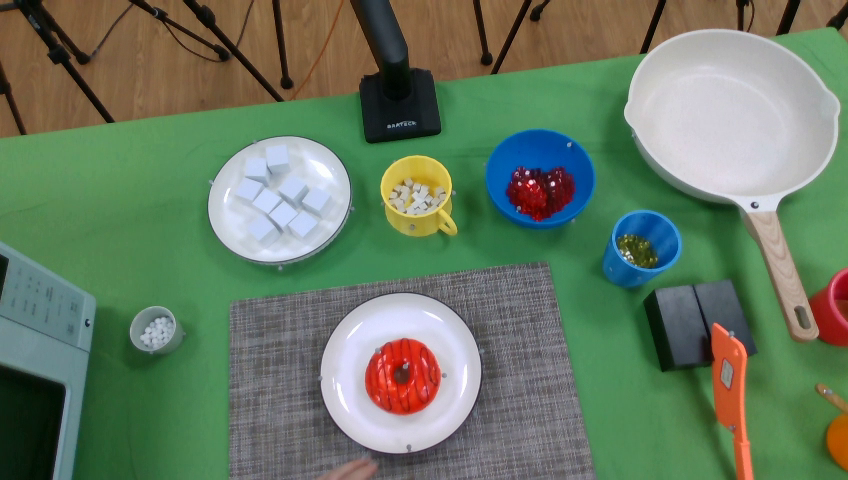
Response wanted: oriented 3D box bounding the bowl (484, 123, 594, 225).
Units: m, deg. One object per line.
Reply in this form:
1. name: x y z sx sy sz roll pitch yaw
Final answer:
1. bowl: 0.158 -0.081 0.859 0.151 0.077 0.150 -1 68 2

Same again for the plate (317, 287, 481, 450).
1. plate: -0.031 0.164 0.783 0.209 0.038 0.207 -1 68 2

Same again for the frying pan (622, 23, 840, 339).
1. frying pan: 0.441 -0.094 0.839 0.307 0.103 0.483 -3 60 2

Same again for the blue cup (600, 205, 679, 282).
1. blue cup: 0.277 0.013 0.803 0.092 0.101 0.092 0 68 1

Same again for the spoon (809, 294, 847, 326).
1. spoon: 0.583 0.075 0.743 0.193 0.022 0.041 -18 60 43

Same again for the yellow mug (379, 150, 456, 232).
1. yellow mug: -0.001 -0.059 0.862 0.100 0.064 0.130 -42 73 -14

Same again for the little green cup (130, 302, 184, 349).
1. little green cup: -0.357 0.117 0.817 0.061 0.039 0.061 -1 69 2

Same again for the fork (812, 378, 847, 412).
1. fork: 0.491 0.202 0.692 0.209 0.018 0.028 36 67 -31

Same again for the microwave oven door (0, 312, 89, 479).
1. microwave oven door: -0.455 0.261 0.633 0.039 0.245 0.353 -5 67 1

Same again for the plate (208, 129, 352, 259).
1. plate: -0.207 -0.065 0.888 0.207 0.039 0.206 -1 68 2

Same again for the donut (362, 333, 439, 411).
1. donut: -0.029 0.168 0.769 0.099 0.048 0.098 -1 71 3

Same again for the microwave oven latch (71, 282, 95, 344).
1. microwave oven latch: -0.463 0.098 0.810 0.030 0.030 0.078 -2 68 1

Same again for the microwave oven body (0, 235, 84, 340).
1. microwave oven body: -0.603 0.235 0.655 0.326 0.262 0.438 -4 68 0

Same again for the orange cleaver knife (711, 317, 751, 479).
1. orange cleaver knife: 0.370 0.201 0.733 0.012 0.077 0.211 -8 96 -1
